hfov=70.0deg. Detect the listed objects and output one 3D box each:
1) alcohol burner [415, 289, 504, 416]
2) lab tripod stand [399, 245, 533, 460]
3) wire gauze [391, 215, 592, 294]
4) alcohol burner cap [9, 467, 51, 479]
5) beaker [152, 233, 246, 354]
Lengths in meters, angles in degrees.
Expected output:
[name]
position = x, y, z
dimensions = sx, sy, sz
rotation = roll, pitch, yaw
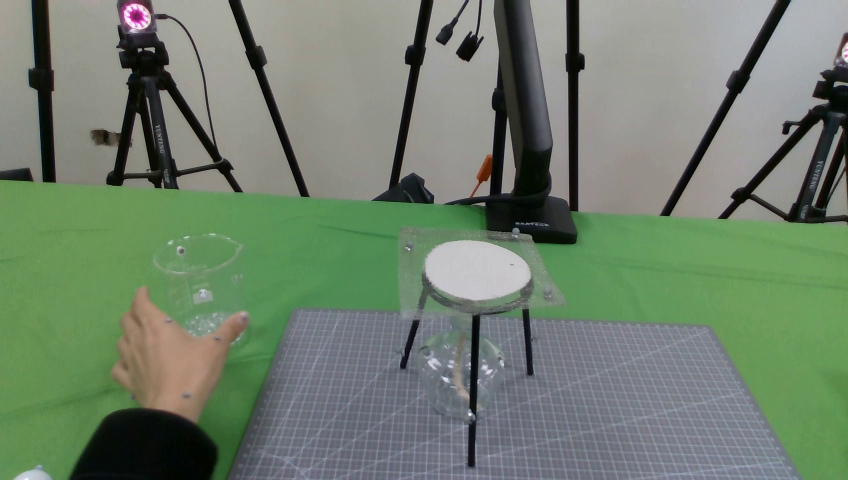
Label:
[alcohol burner]
position = 0.032, 0.091, 0.518
dimensions = 0.078, 0.120, 0.077
rotation = 3, 30, -2
[lab tripod stand]
position = 0.041, 0.085, 0.510
dimensions = 0.148, 0.132, 0.147
rotation = 3, 31, -2
[wire gauze]
position = 0.049, 0.010, 0.471
dimensions = 0.125, 0.011, 0.120
rotation = -4, 25, -25
[alcohol burner cap]
position = -0.272, 0.179, 0.419
dimensions = 0.034, 0.048, 0.033
rotation = 3, 29, -1
[beaker]
position = -0.211, 0.052, 0.589
dimensions = 0.084, 0.101, 0.073
rotation = -20, 37, -34
